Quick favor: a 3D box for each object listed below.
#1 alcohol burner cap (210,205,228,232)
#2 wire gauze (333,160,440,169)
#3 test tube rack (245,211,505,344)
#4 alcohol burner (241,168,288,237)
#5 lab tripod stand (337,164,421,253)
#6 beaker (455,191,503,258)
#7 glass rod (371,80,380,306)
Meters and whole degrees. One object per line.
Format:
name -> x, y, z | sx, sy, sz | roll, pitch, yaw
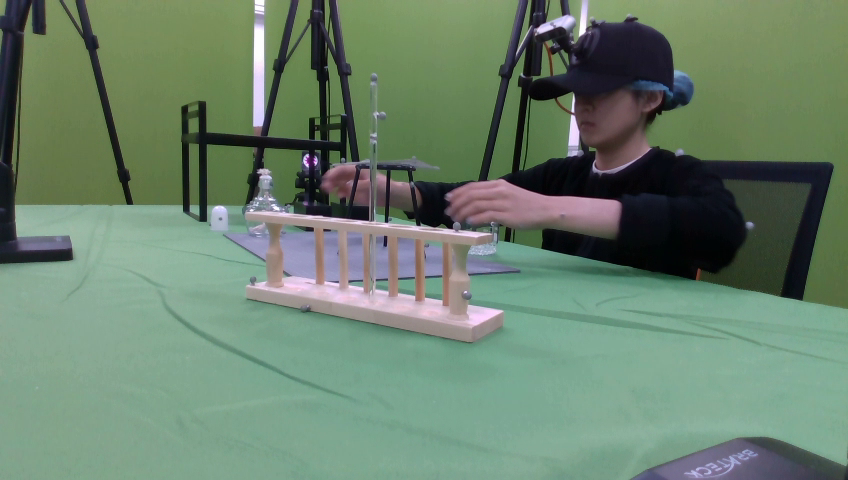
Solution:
alcohol burner cap -> -0.376, -0.040, 1.107 | 0.034, 0.048, 0.034 | 2, 7, 0
wire gauze -> -0.052, -0.111, 0.884 | 0.121, 0.011, 0.125 | 4, 7, 19
test tube rack -> -0.049, 0.025, 0.547 | 0.241, 0.085, 0.067 | 7, 8, 29
alcohol burner -> -0.272, -0.064, 1.036 | 0.078, 0.119, 0.078 | 4, 5, 0
lab tripod stand -> -0.060, -0.046, 0.895 | 0.148, 0.131, 0.148 | 1, 6, 0
beaker -> 0.087, -0.025, 0.955 | 0.074, 0.100, 0.083 | -1, 8, -26
glass rod -> -0.042, -0.039, 0.530 | 0.008, 0.199, 0.008 | 0, 2, 0
